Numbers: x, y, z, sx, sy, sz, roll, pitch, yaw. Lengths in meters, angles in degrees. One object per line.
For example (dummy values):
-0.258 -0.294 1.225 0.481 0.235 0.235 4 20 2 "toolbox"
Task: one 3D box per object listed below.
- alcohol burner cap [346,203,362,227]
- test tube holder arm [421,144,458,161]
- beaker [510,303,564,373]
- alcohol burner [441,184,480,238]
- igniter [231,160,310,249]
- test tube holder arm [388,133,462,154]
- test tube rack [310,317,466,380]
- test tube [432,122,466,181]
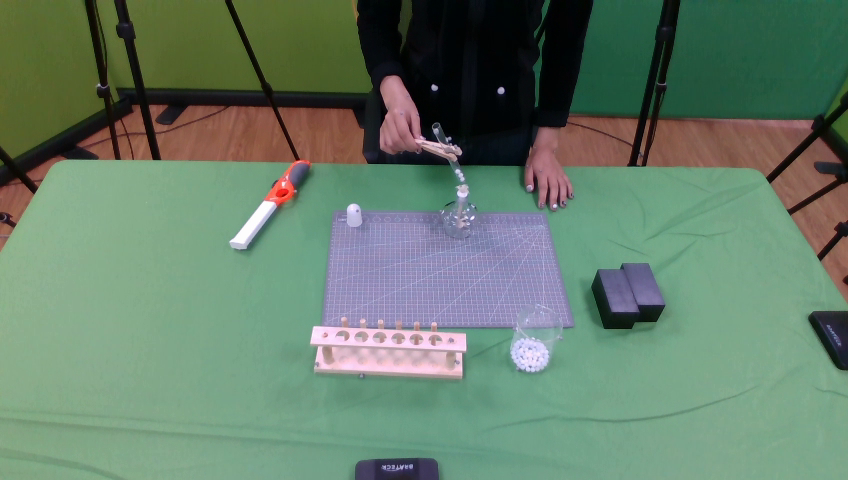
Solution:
-0.141 -0.053 1.222 0.034 0.048 0.033 2 47 -2 "alcohol burner cap"
0.027 -0.161 1.096 0.010 0.015 0.087 -49 46 -11 "test tube holder arm"
0.182 0.164 1.000 0.074 0.101 0.083 2 46 -1 "beaker"
0.073 -0.061 1.195 0.078 0.120 0.077 1 47 0 "alcohol burner"
-0.311 -0.081 1.250 0.057 0.025 0.275 9 45 18 "igniter"
-0.001 -0.179 1.126 0.177 0.015 0.013 20 68 40 "test tube holder arm"
-0.056 0.171 0.986 0.242 0.085 0.066 3 45 -1 "test tube rack"
0.046 -0.155 1.085 0.017 0.151 0.017 -13 52 17 "test tube"
